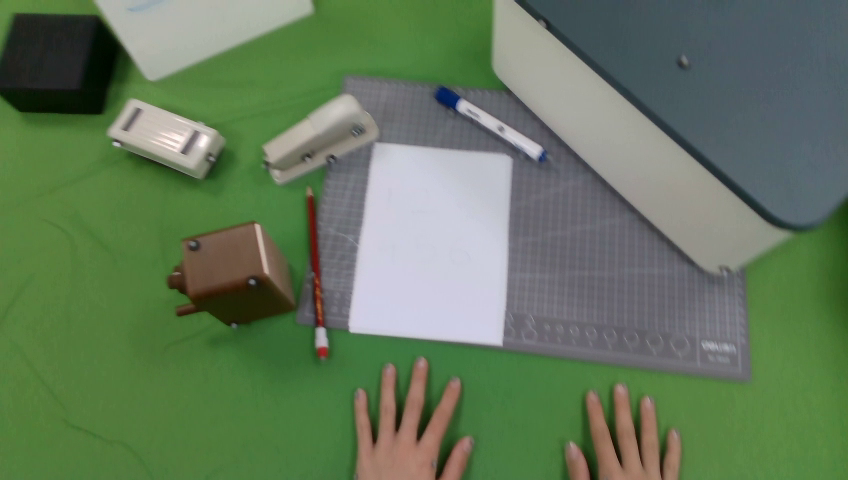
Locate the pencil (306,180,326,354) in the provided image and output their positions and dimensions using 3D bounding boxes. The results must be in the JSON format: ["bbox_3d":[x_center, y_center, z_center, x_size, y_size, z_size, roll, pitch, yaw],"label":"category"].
[{"bbox_3d":[-0.114,0.024,0.630,0.012,0.012,0.192,-8,69,-2],"label":"pencil"}]

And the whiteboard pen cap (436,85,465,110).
[{"bbox_3d":[0.031,-0.162,0.691,0.033,0.018,0.018,35,74,15],"label":"whiteboard pen cap"}]

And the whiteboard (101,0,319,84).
[{"bbox_3d":[-0.278,-0.370,0.656,0.217,0.308,0.142,-25,52,-8],"label":"whiteboard"}]

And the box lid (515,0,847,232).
[{"bbox_3d":[0.271,-0.205,0.550,0.263,0.015,0.369,-38,74,-13],"label":"box lid"}]

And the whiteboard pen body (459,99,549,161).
[{"bbox_3d":[0.078,-0.130,0.676,0.140,0.017,0.017,35,74,15],"label":"whiteboard pen body"}]

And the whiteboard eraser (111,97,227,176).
[{"bbox_3d":[-0.279,-0.112,0.668,0.112,0.042,0.055,22,74,8],"label":"whiteboard eraser"}]

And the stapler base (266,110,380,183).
[{"bbox_3d":[-0.114,-0.110,0.672,0.130,0.024,0.041,-27,67,-5],"label":"stapler base"}]

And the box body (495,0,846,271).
[{"bbox_3d":[0.273,-0.177,0.618,0.254,0.161,0.362,-38,73,-13],"label":"box body"}]

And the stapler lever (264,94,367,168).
[{"bbox_3d":[-0.117,-0.118,0.649,0.118,0.040,0.026,-27,67,-6],"label":"stapler lever"}]

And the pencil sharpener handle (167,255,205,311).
[{"bbox_3d":[-0.225,0.044,0.560,0.031,0.068,0.035,-14,53,-4],"label":"pencil sharpener handle"}]

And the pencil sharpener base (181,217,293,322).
[{"bbox_3d":[-0.176,0.032,0.578,0.077,0.108,0.061,-14,70,-4],"label":"pencil sharpener base"}]
